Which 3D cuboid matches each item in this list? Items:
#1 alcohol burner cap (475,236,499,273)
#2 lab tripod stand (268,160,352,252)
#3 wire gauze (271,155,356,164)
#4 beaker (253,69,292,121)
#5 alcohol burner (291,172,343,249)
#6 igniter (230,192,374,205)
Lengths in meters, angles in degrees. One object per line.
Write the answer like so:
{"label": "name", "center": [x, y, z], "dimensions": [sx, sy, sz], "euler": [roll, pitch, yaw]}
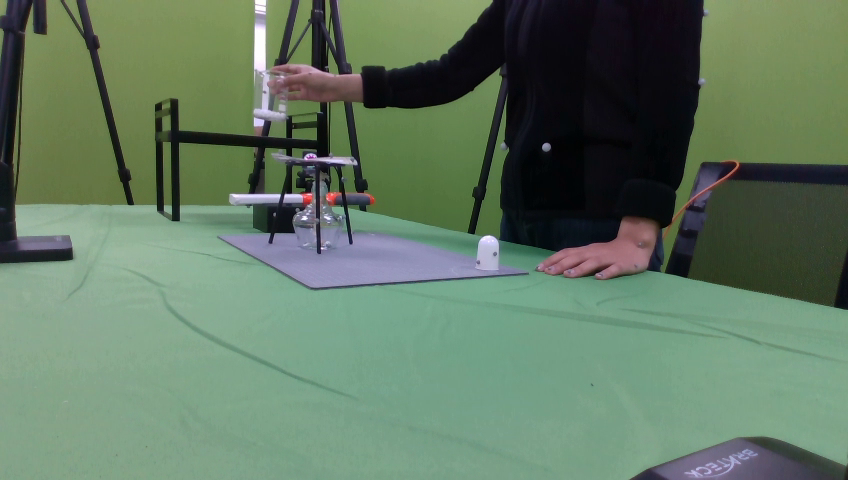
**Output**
{"label": "alcohol burner cap", "center": [0.084, 0.018, 0.799], "dimensions": [0.034, 0.048, 0.034], "euler": [2, 6, 0]}
{"label": "lab tripod stand", "center": [-0.171, -0.055, 0.921], "dimensions": [0.148, 0.131, 0.148], "euler": [1, 8, 0]}
{"label": "wire gauze", "center": [-0.167, -0.122, 0.917], "dimensions": [0.125, 0.011, 0.121], "euler": [0, 8, -9]}
{"label": "beaker", "center": [-0.324, -0.306, 1.281], "dimensions": [0.074, 0.100, 0.084], "euler": [8, 7, 15]}
{"label": "alcohol burner", "center": [-0.162, -0.045, 0.922], "dimensions": [0.078, 0.119, 0.078], "euler": [5, 7, 0]}
{"label": "igniter", "center": [-0.228, -0.079, 1.164], "dimensions": [0.278, 0.025, 0.057], "euler": [-2, 14, -29]}
